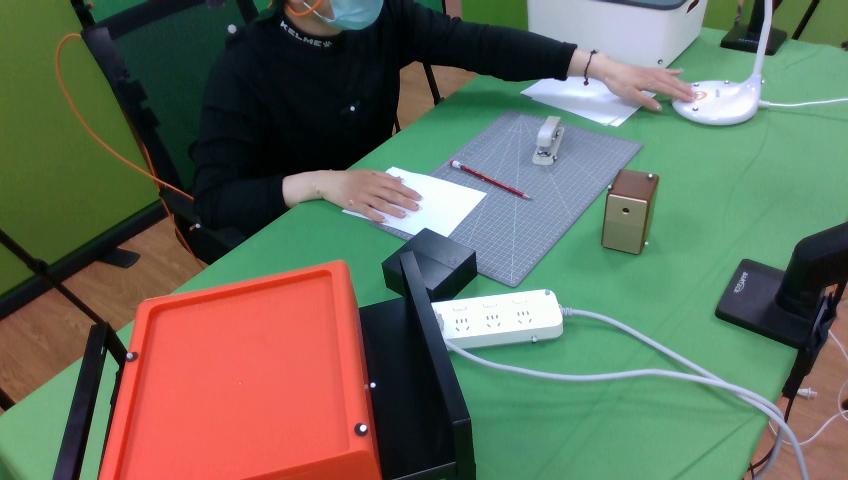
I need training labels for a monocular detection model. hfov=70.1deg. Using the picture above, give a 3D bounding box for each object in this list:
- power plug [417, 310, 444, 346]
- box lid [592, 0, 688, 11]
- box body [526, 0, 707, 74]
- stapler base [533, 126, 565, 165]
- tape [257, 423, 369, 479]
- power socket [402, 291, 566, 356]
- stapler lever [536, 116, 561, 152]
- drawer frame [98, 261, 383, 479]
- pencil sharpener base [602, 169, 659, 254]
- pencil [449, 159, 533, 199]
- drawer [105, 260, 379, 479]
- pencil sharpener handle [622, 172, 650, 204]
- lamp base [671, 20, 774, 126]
[{"bbox_3d":[0.007,0.122,0.785,0.035,0.053,0.072,-1,40,9],"label":"power plug"},{"bbox_3d":[0.441,-0.596,1.383,0.368,0.015,0.264,24,49,31],"label":"box lid"},{"bbox_3d":[0.451,-0.540,1.430,0.361,0.161,0.255,24,50,31],"label":"box body"},{"bbox_3d":[0.239,-0.189,1.155,0.041,0.024,0.130,10,42,18],"label":"stapler base"},{"bbox_3d":[-0.121,0.262,0.659,0.117,0.053,0.116,-4,40,4],"label":"tape"},{"bbox_3d":[0.081,0.112,0.822,0.227,0.033,0.072,-6,41,0],"label":"power socket"},{"bbox_3d":[0.236,-0.208,1.140,0.026,0.040,0.118,10,43,18],"label":"stapler lever"},{"bbox_3d":[-0.148,0.129,0.519,0.202,0.083,0.212,-12,41,-6],"label":"drawer frame"},{"bbox_3d":[0.312,-0.044,0.913,0.061,0.107,0.077,14,45,24],"label":"pencil sharpener base"},{"bbox_3d":[0.118,-0.110,1.091,0.192,0.012,0.012,30,53,34],"label":"pencil"},{"bbox_3d":[-0.150,0.127,0.525,0.195,0.073,0.210,-11,41,-5],"label":"drawer"},{"bbox_3d":[0.328,-0.086,0.940,0.036,0.068,0.030,30,49,8],"label":"pencil sharpener handle"},{"bbox_3d":[0.581,-0.332,1.154,0.179,0.181,0.160,2,41,7],"label":"lamp base"}]
